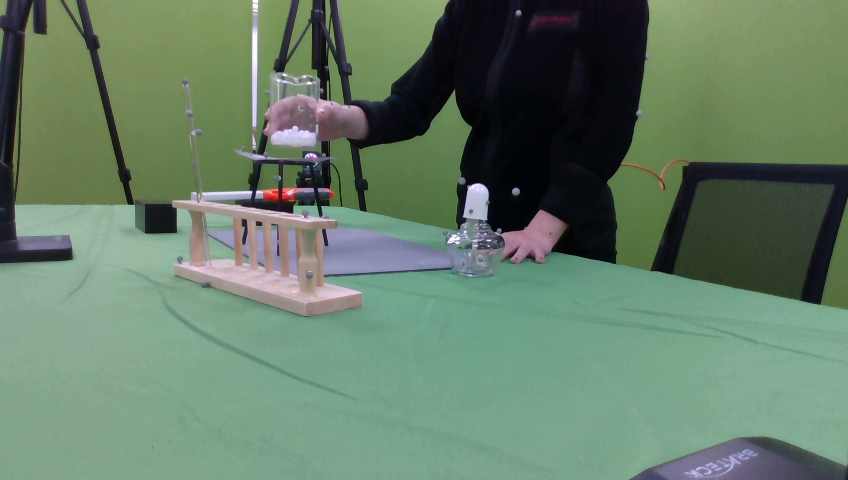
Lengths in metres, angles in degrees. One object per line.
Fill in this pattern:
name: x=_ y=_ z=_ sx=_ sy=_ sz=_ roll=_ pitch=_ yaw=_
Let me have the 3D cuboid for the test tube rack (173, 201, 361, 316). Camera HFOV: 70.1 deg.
test tube rack: x=-0.169 y=0.010 z=0.622 sx=0.241 sy=0.085 sz=0.067 roll=9 pitch=10 yaw=41

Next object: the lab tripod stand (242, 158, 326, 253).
lab tripod stand: x=-0.207 y=-0.054 z=0.895 sx=0.148 sy=0.131 sz=0.148 roll=3 pitch=5 yaw=0

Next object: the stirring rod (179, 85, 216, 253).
stirring rod: x=-0.237 y=-0.073 z=0.634 sx=0.006 sy=0.176 sz=0.014 roll=0 pitch=9 yaw=41

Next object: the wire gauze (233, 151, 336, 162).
wire gauze: x=-0.205 y=-0.121 z=0.887 sx=0.122 sy=0.011 sz=0.124 roll=0 pitch=8 yaw=-32

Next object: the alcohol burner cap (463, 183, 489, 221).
alcohol burner cap: x=0.067 y=-0.048 z=0.765 sx=0.034 sy=0.048 sz=0.034 roll=5 pitch=5 yaw=0

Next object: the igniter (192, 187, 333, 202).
igniter: x=-0.316 y=-0.090 z=1.213 sx=0.278 sy=0.025 sz=0.057 roll=-5 pitch=12 yaw=-31

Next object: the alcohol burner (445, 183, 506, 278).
alcohol burner: x=0.066 y=-0.013 z=0.770 sx=0.078 sy=0.119 sz=0.078 roll=0 pitch=7 yaw=0

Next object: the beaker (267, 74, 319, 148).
beaker: x=-0.192 y=-0.187 z=0.886 sx=0.074 sy=0.100 sz=0.083 roll=0 pitch=6 yaw=-17
